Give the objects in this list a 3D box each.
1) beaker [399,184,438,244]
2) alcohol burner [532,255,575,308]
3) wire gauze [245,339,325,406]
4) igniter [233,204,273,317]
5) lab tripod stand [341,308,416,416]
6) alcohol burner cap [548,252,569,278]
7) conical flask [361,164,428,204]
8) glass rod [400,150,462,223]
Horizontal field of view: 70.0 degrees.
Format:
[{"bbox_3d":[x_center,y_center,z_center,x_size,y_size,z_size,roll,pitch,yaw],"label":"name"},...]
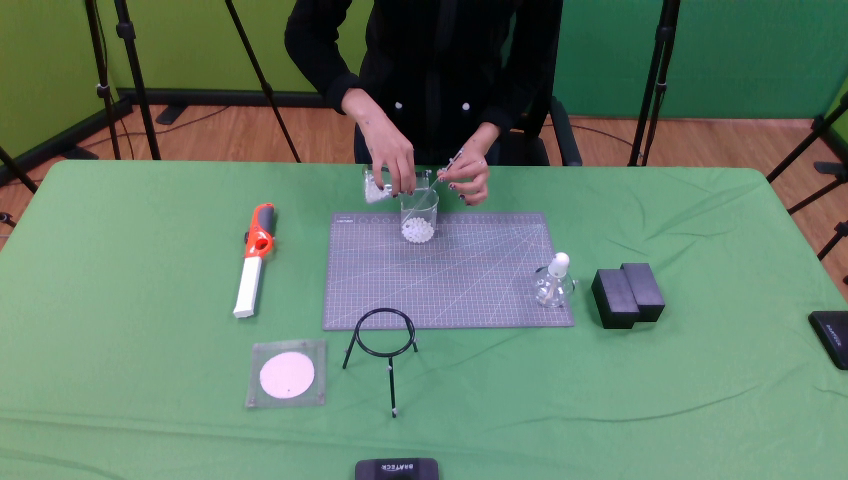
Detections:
[{"bbox_3d":[-0.015,-0.046,1.186,0.073,0.101,0.084,36,54,27],"label":"beaker"},{"bbox_3d":[0.235,0.066,1.087,0.078,0.119,0.077,4,45,-3],"label":"alcohol burner"},{"bbox_3d":[-0.224,0.214,0.984,0.125,0.011,0.120,-2,46,-5],"label":"wire gauze"},{"bbox_3d":[-0.321,0.029,1.142,0.057,0.025,0.274,-8,46,4],"label":"igniter"},{"bbox_3d":[-0.061,0.177,0.946,0.148,0.132,0.147,2,44,-2],"label":"lab tripod stand"},{"bbox_3d":[0.238,0.042,1.060,0.034,0.048,0.033,1,53,-1],"label":"alcohol burner cap"},{"bbox_3d":[-0.055,-0.107,1.122,0.122,0.076,0.075,-3,46,-4],"label":"conical flask"},{"bbox_3d":[0.010,-0.099,1.142,0.008,0.200,0.008,28,34,-21],"label":"glass rod"}]
